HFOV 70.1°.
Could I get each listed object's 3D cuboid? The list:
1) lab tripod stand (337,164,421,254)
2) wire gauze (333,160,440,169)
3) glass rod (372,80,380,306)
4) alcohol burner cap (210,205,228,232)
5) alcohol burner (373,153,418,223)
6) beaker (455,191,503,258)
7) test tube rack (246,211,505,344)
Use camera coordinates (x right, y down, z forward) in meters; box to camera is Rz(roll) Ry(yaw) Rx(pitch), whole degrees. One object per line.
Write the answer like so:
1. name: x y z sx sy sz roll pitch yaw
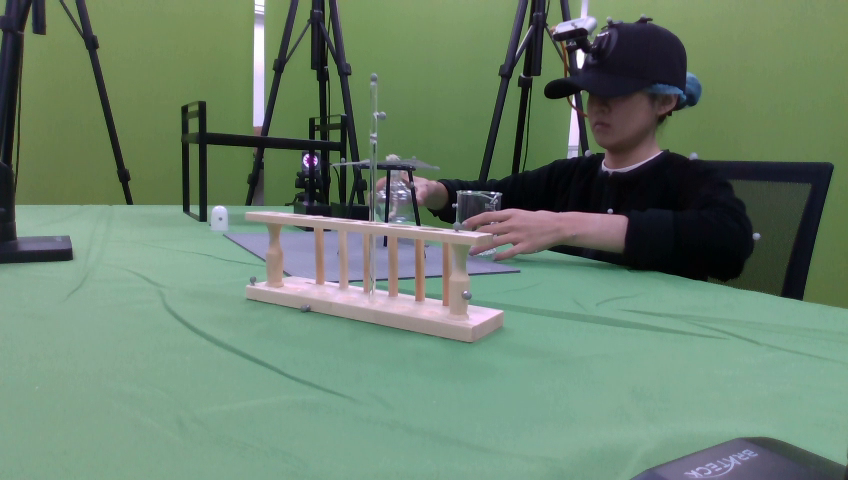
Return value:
1. lab tripod stand: -0.060 -0.046 0.895 0.148 0.131 0.148 1 6 0
2. wire gauze: -0.052 -0.111 0.884 0.121 0.011 0.125 4 7 19
3. glass rod: -0.042 -0.039 0.530 0.008 0.199 0.008 0 2 0
4. alcohol burner cap: -0.376 -0.040 1.107 0.034 0.048 0.034 2 7 0
5. alcohol burner: -0.049 -0.089 1.039 0.078 0.119 0.078 0 10 0
6. beaker: 0.087 -0.025 0.955 0.074 0.100 0.083 -1 9 -26
7. test tube rack: -0.049 0.025 0.547 0.241 0.085 0.067 7 8 29
